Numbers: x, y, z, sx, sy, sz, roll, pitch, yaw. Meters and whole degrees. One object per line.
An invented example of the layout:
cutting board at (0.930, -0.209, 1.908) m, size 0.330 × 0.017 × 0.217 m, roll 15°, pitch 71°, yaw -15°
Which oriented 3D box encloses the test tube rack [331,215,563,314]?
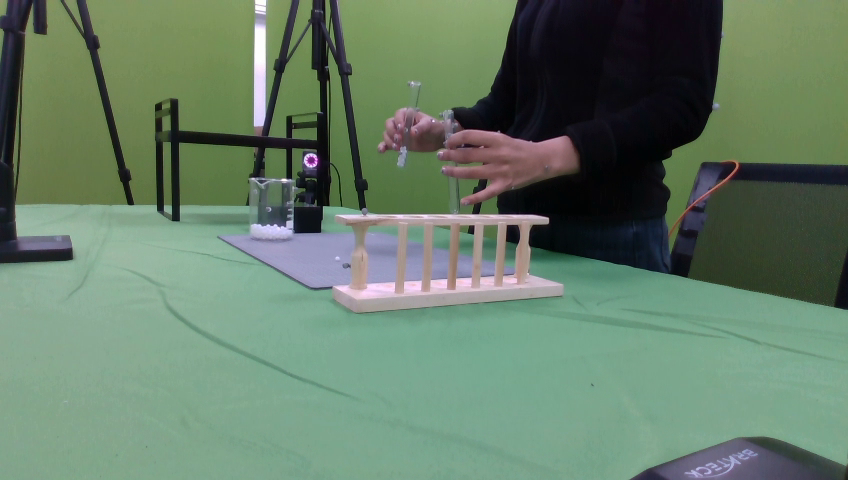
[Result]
test tube rack at (0.031, 0.019, 0.625) m, size 0.243 × 0.085 × 0.066 m, roll -1°, pitch 8°, yaw -28°

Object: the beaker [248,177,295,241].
beaker at (-0.252, -0.051, 0.992) m, size 0.074 × 0.100 × 0.084 m, roll 3°, pitch 9°, yaw 6°

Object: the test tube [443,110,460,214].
test tube at (0.039, -0.112, 0.867) m, size 0.017 × 0.150 × 0.017 m, roll -4°, pitch -2°, yaw 0°

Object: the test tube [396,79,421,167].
test tube at (-0.027, -0.190, 0.997) m, size 0.017 × 0.150 × 0.017 m, roll 10°, pitch 29°, yaw -5°
